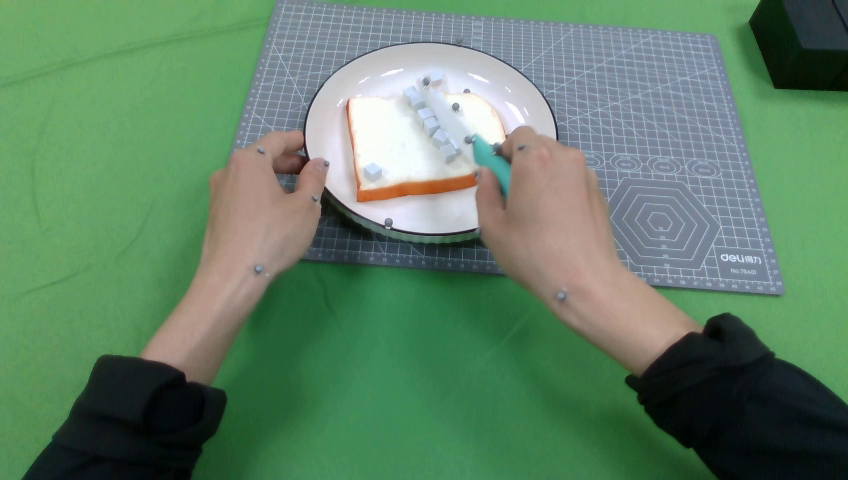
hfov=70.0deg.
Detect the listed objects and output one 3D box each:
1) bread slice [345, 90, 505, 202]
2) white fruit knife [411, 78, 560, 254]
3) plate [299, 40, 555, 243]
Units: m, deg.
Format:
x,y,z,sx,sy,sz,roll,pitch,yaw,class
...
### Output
x,y,z,sx,sy,sz,roll,pitch,yaw,class
0.001,-0.085,0.510,0.132,0.019,0.104,-9,60,-7,bread slice
0.037,-0.067,0.453,0.016,0.027,0.205,-16,50,-26,white fruit knife
0.003,-0.082,0.505,0.209,0.038,0.207,2,59,-2,plate
